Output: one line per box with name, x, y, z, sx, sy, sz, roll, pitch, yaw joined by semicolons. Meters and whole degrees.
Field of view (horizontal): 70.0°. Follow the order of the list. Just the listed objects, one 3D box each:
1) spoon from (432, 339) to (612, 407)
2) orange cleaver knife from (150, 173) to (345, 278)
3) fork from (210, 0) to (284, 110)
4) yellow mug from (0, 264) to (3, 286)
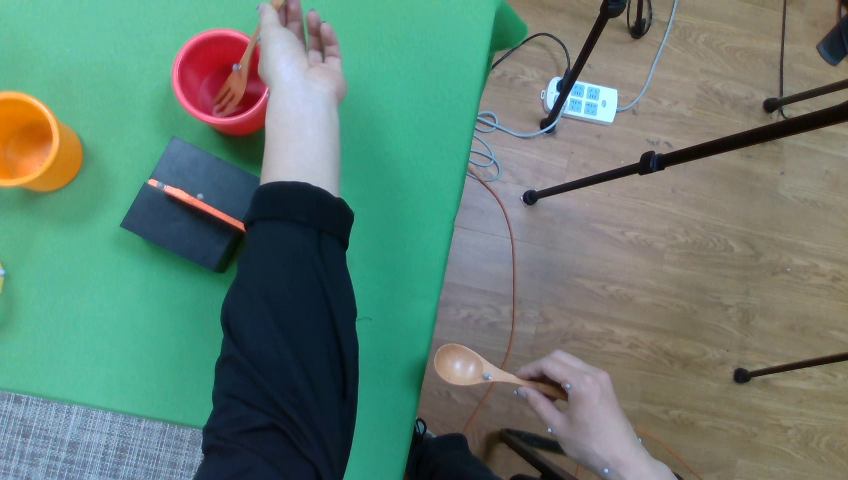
spoon;0.101;0.143;0.622;0.194;0.022;0.041;15;62;1
orange cleaver knife;-0.175;-0.013;0.621;0.213;0.076;0.012;31;82;-33
fork;-0.162;-0.202;0.596;0.019;0.207;0.028;-18;72;-49
yellow mug;-0.474;0.046;0.589;0.100;0.064;0.131;-29;91;-8
